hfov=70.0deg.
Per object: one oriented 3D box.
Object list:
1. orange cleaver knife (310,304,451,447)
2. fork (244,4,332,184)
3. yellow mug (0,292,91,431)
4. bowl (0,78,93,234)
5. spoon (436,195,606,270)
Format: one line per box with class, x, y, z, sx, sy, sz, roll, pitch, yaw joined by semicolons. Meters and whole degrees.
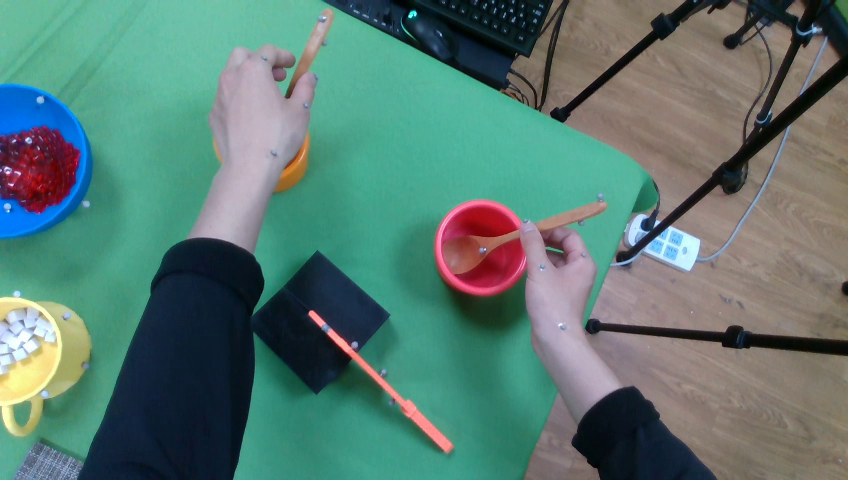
orange cleaver knife;-0.041;0.139;0.610;0.012;0.076;0.213;-44;120;-9
fork;-0.138;-0.141;0.608;0.028;0.018;0.208;36;122;4
yellow mug;-0.386;0.117;0.584;0.100;0.064;0.130;-5;83;-7
bowl;-0.399;-0.074;0.605;0.151;0.077;0.151;1;82;-6
spoon;0.094;-0.009;0.619;0.193;0.022;0.041;-20;76;36
